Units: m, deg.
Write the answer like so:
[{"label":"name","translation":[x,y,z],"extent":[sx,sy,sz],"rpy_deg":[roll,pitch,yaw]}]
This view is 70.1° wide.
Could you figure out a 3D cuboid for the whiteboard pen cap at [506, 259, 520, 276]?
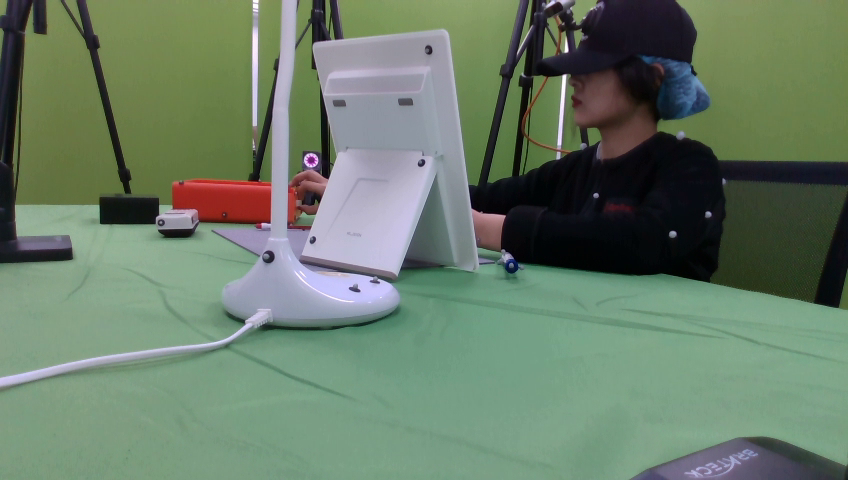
[{"label":"whiteboard pen cap","translation":[0.110,0.032,0.754],"extent":[0.018,0.018,0.033],"rpy_deg":[3,10,6]}]

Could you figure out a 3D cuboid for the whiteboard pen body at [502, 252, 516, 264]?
[{"label":"whiteboard pen body","translation":[0.116,0.029,0.813],"extent":[0.017,0.017,0.141],"rpy_deg":[3,3,5]}]

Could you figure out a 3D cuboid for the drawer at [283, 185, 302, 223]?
[{"label":"drawer","translation":[-0.374,-0.085,1.304],"extent":[0.212,0.073,0.194],"rpy_deg":[2,8,-7]}]

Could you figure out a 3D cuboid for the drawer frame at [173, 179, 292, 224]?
[{"label":"drawer frame","translation":[-0.400,-0.086,1.300],"extent":[0.214,0.082,0.201],"rpy_deg":[1,8,-8]}]

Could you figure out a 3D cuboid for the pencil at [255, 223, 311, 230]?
[{"label":"pencil","translation":[-0.216,-0.022,1.134],"extent":[0.195,0.012,0.012],"rpy_deg":[2,7,-21]}]

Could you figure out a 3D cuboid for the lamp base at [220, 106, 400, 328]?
[{"label":"lamp base","translation":[-0.101,-0.023,0.531],"extent":[0.160,0.180,0.179],"rpy_deg":[4,10,10]}]

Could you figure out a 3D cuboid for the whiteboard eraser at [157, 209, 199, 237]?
[{"label":"whiteboard eraser","translation":[-0.411,-0.029,1.016],"extent":[0.056,0.042,0.112],"rpy_deg":[2,7,-16]}]

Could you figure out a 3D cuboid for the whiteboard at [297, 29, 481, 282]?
[{"label":"whiteboard","translation":[-0.075,-0.082,0.742],"extent":[0.216,0.305,0.144],"rpy_deg":[9,29,37]}]

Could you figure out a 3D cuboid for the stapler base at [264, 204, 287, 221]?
[{"label":"stapler base","translation":[-0.318,-0.062,1.307],"extent":[0.041,0.024,0.130],"rpy_deg":[17,5,-11]}]

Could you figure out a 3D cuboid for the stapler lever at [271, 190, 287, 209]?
[{"label":"stapler lever","translation":[-0.312,-0.088,1.306],"extent":[0.027,0.040,0.118],"rpy_deg":[17,3,-11]}]
